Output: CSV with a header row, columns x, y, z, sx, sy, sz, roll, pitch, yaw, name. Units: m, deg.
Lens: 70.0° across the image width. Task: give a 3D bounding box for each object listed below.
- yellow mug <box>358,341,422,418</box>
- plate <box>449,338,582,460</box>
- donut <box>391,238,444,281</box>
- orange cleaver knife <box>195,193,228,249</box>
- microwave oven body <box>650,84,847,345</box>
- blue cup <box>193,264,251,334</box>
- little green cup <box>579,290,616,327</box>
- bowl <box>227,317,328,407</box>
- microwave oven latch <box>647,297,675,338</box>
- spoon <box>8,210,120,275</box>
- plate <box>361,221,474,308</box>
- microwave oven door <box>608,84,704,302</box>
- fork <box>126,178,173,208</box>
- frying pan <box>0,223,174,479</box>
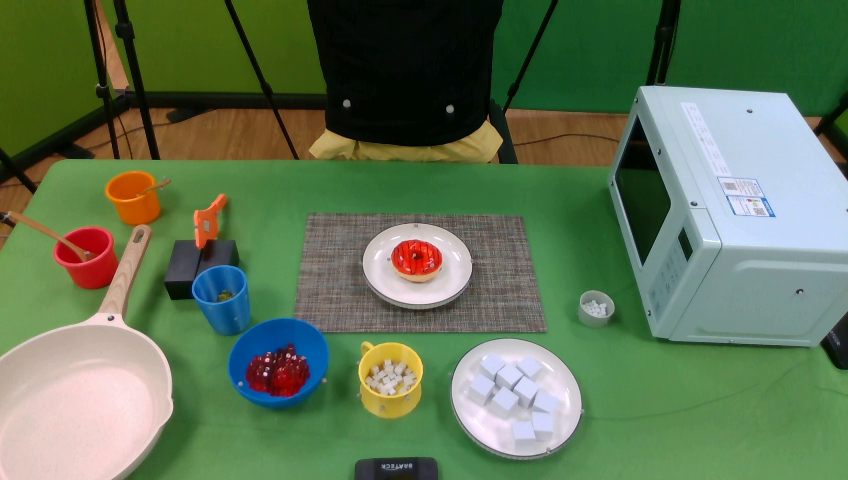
x,y,z,sx,sy,sz,roll,pitch,yaw,name
-0.063,0.210,0.961,0.100,0.064,0.130,-29,54,-28,yellow mug
0.141,0.251,0.955,0.208,0.039,0.206,2,46,-2,plate
-0.012,0.035,1.128,0.099,0.048,0.098,3,43,-3,donut
-0.406,-0.041,1.163,0.012,0.077,0.210,-1,18,-3,orange cleaver knife
0.568,-0.054,1.116,0.326,0.261,0.439,2,46,-1,microwave oven body
-0.331,0.105,1.015,0.092,0.101,0.092,1,45,-1,blue cup
0.308,0.124,1.086,0.061,0.039,0.061,1,45,-1,little green cup
-0.222,0.203,0.947,0.151,0.077,0.150,2,46,-2,bowl
0.413,0.133,1.060,0.030,0.029,0.078,5,46,2,microwave oven latch
-0.628,0.002,1.063,0.195,0.021,0.041,40,41,-27,spoon
-0.011,0.049,1.130,0.209,0.038,0.208,2,46,-2,plate
0.424,-0.096,1.138,0.039,0.245,0.353,3,46,-1,microwave oven door
-0.524,-0.090,1.154,0.207,0.019,0.028,-17,26,46,fork
-0.505,0.169,0.941,0.307,0.103,0.485,5,54,-1,frying pan
